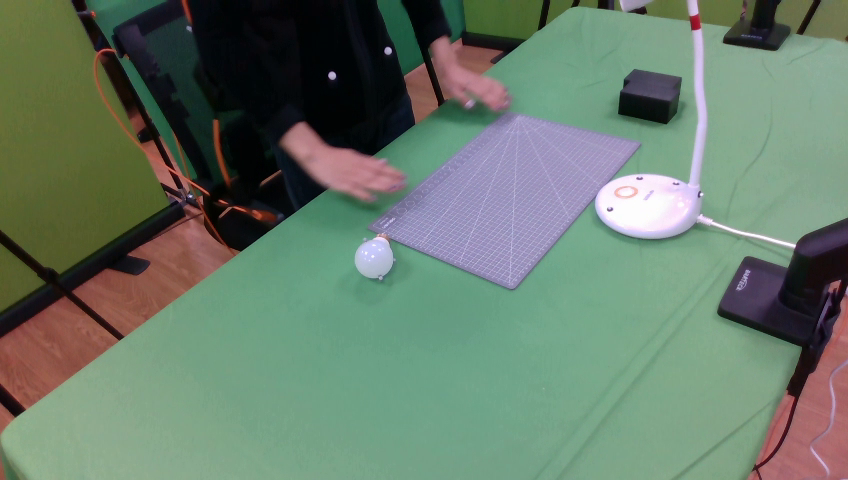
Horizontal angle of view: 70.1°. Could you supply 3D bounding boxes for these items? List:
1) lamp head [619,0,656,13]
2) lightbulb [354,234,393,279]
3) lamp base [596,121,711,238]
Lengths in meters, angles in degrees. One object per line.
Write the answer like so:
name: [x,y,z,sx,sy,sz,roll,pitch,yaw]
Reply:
lamp head: [0.282,-0.338,0.715,0.122,0.113,0.112,-9,40,15]
lightbulb: [-0.075,0.020,0.952,0.059,0.060,0.107,-2,25,9]
lamp base: [0.363,-0.113,0.925,0.178,0.181,0.161,17,47,24]
